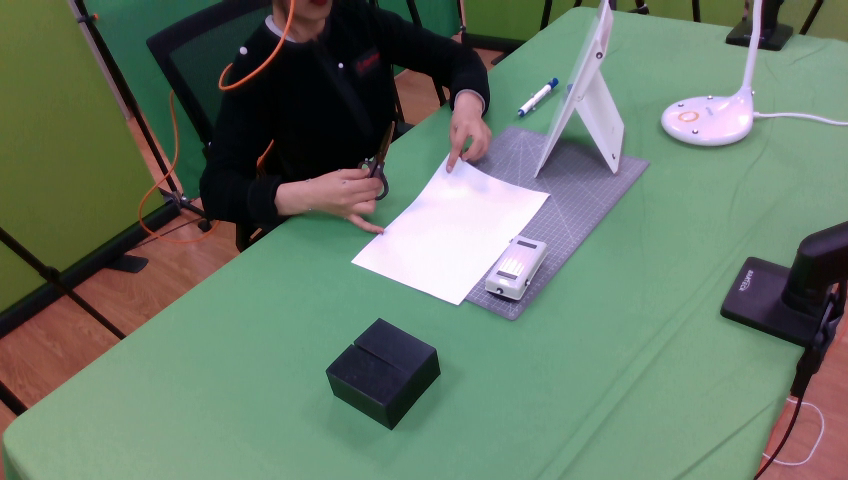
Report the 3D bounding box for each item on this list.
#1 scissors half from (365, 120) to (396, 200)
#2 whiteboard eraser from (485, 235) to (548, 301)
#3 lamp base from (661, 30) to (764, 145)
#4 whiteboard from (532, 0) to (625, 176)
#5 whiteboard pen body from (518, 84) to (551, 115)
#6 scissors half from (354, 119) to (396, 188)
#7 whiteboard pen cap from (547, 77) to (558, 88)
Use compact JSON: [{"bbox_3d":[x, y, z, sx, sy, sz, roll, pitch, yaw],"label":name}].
[{"bbox_3d":[-0.067,-0.128,0.992,0.040,0.175,0.013,38,49,17],"label":"scissors half"},{"bbox_3d":[0.137,0.042,0.887,0.055,0.042,0.113,15,46,27],"label":"whiteboard eraser"},{"bbox_3d":[0.535,-0.287,1.096,0.179,0.181,0.159,-10,40,-4],"label":"lamp base"},{"bbox_3d":[0.320,-0.259,1.050,0.144,0.306,0.217,21,45,5],"label":"whiteboard"},{"bbox_3d":[0.242,-0.306,1.289,0.017,0.017,0.141,23,52,32],"label":"whiteboard pen body"},{"bbox_3d":[-0.080,-0.143,0.996,0.013,0.175,0.040,-31,80,-38],"label":"scissors half"},{"bbox_3d":[0.279,-0.341,1.321,0.018,0.018,0.033,22,52,31],"label":"whiteboard pen cap"}]
